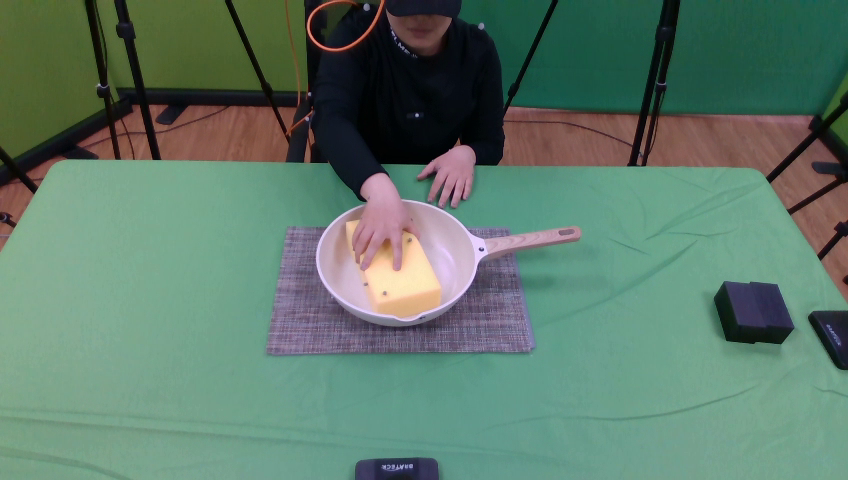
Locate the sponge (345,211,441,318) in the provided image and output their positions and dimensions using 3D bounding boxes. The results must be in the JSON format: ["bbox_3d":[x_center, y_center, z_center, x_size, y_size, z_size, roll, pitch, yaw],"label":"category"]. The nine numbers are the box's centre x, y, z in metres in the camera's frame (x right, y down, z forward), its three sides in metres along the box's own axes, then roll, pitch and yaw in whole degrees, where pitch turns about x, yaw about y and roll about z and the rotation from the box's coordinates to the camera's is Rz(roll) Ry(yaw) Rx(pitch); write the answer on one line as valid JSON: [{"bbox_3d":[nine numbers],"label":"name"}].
[{"bbox_3d":[-0.061,0.045,1.113,0.118,0.061,0.205,-14,49,-16],"label":"sponge"}]

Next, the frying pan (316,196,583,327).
[{"bbox_3d":[0.054,0.027,1.114,0.488,0.103,0.304,-9,48,-1],"label":"frying pan"}]
